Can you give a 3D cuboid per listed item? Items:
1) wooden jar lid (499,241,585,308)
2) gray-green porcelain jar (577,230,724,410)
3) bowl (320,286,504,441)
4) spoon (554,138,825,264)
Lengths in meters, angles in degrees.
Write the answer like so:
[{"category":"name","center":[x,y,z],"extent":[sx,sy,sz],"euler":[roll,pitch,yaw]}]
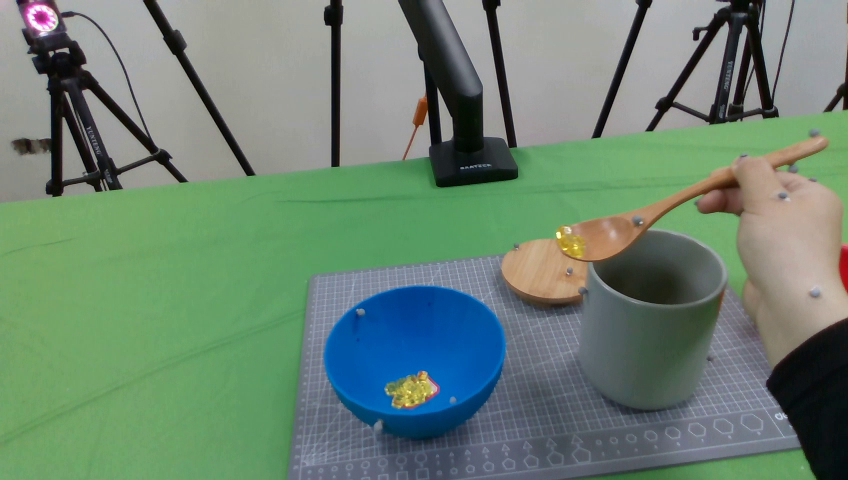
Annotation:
[{"category":"wooden jar lid","center":[0.137,0.038,0.664],"extent":[0.108,0.021,0.107],"euler":[-3,34,3]},{"category":"gray-green porcelain jar","center":[0.186,0.072,0.515],"extent":[0.106,0.127,0.105],"euler":[-3,35,3]},{"category":"bowl","center":[-0.007,0.116,0.517],"extent":[0.151,0.077,0.150],"euler":[-3,35,2]},{"category":"spoon","center":[0.183,-0.029,0.418],"extent":[0.193,0.022,0.041],"euler":[-25,40,8]}]
